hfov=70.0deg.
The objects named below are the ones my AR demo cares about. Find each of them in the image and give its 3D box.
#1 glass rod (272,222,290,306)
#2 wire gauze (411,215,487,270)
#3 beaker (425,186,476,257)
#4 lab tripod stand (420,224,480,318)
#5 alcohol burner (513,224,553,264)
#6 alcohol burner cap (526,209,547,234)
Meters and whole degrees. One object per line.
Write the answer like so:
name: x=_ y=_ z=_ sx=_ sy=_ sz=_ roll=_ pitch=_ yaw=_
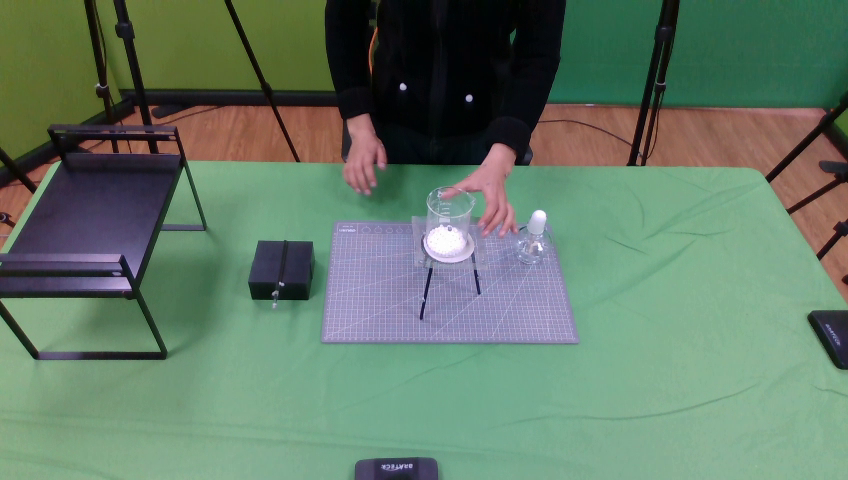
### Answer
glass rod: x=-0.255 y=0.039 z=1.084 sx=0.008 sy=0.008 sz=0.198 roll=1 pitch=46 yaw=-3
wire gauze: x=0.041 y=0.003 z=1.026 sx=0.125 sy=0.011 sz=0.120 roll=0 pitch=46 yaw=-1
beaker: x=0.041 y=-0.028 z=0.989 sx=0.084 sy=0.101 sz=0.073 roll=-12 pitch=48 yaw=-15
lab tripod stand: x=0.034 y=0.052 z=1.070 sx=0.148 sy=0.132 sz=0.147 roll=3 pitch=48 yaw=-3
alcohol burner: x=0.210 y=-0.012 z=1.158 sx=0.078 sy=0.120 sz=0.077 roll=1 pitch=44 yaw=-1
alcohol burner cap: x=0.212 y=-0.038 z=1.133 sx=0.034 sy=0.048 sz=0.033 roll=5 pitch=50 yaw=-6
